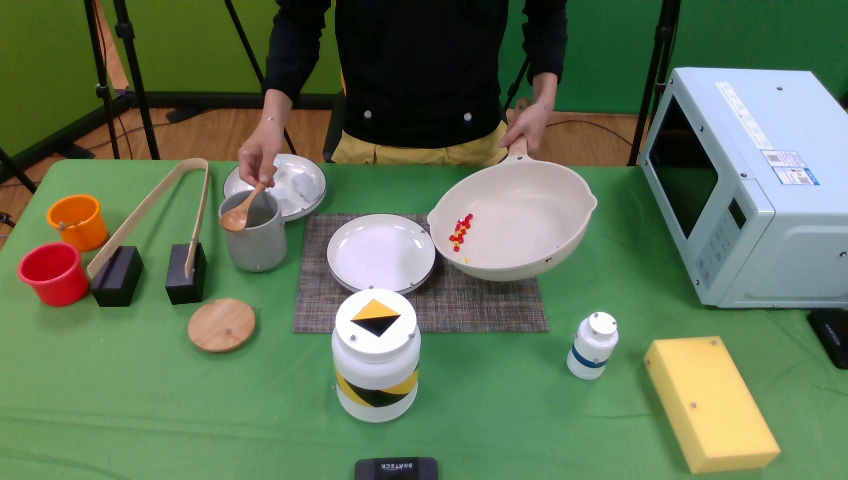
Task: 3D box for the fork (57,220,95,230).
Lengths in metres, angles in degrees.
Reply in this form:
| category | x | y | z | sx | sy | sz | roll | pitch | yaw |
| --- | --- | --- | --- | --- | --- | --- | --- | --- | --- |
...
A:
| category | x | y | z | sx | sy | sz | roll | pitch | yaw |
| --- | --- | --- | --- | --- | --- | --- | --- | --- | --- |
| fork | -0.624 | -0.027 | 1.086 | 0.028 | 0.207 | 0.018 | -2 | 91 | -17 |

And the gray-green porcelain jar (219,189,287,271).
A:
| category | x | y | z | sx | sy | sz | roll | pitch | yaw |
| --- | --- | --- | --- | --- | --- | --- | --- | --- | --- |
| gray-green porcelain jar | -0.310 | -0.014 | 1.113 | 0.106 | 0.127 | 0.105 | 2 | 46 | -2 |

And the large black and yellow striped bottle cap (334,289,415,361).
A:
| category | x | y | z | sx | sy | sz | roll | pitch | yaw |
| --- | --- | --- | --- | --- | --- | --- | --- | --- | --- |
| large black and yellow striped bottle cap | -0.069 | 0.117 | 0.850 | 0.115 | 0.019 | 0.114 | 2 | 45 | -2 |

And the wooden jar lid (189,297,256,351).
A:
| category | x | y | z | sx | sy | sz | roll | pitch | yaw |
| --- | --- | --- | --- | --- | --- | --- | --- | --- | --- |
| wooden jar lid | -0.342 | 0.145 | 1.033 | 0.108 | 0.021 | 0.107 | 3 | 45 | -2 |

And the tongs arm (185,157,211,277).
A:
| category | x | y | z | sx | sy | sz | roll | pitch | yaw |
| --- | --- | --- | --- | --- | --- | --- | --- | --- | --- |
| tongs arm | -0.446 | -0.058 | 1.168 | 0.051 | 0.026 | 0.382 | -5 | 37 | -6 |

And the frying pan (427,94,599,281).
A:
| category | x | y | z | sx | sy | sz | roll | pitch | yaw |
| --- | --- | --- | --- | --- | --- | --- | --- | --- | --- |
| frying pan | 0.177 | -0.117 | 1.149 | 0.306 | 0.103 | 0.485 | -3 | 51 | 20 |

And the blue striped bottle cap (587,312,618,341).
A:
| category | x | y | z | sx | sy | sz | roll | pitch | yaw |
| --- | --- | --- | --- | --- | --- | --- | --- | --- | --- |
| blue striped bottle cap | 0.279 | 0.134 | 0.946 | 0.044 | 0.021 | 0.044 | 2 | 45 | -2 |

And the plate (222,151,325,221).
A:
| category | x | y | z | sx | sy | sz | roll | pitch | yaw |
| --- | --- | --- | --- | --- | --- | --- | --- | --- | --- |
| plate | -0.310 | -0.106 | 1.263 | 0.208 | 0.039 | 0.206 | 2 | 46 | -2 |

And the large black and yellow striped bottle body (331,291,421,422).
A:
| category | x | y | z | sx | sy | sz | roll | pitch | yaw |
| --- | --- | --- | --- | --- | --- | --- | --- | --- | --- |
| large black and yellow striped bottle body | -0.071 | 0.175 | 0.911 | 0.131 | 0.185 | 0.130 | 2 | 47 | -2 |

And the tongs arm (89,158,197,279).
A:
| category | x | y | z | sx | sy | sz | roll | pitch | yaw |
| --- | --- | --- | --- | --- | --- | --- | --- | --- | --- |
| tongs arm | -0.530 | -0.057 | 1.164 | 0.028 | 0.028 | 0.385 | 1 | 36 | 8 |

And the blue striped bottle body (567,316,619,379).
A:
| category | x | y | z | sx | sy | sz | roll | pitch | yaw |
| --- | --- | --- | --- | --- | --- | --- | --- | --- | --- |
| blue striped bottle body | 0.276 | 0.168 | 0.984 | 0.063 | 0.121 | 0.062 | 2 | 46 | -2 |

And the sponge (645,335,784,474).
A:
| category | x | y | z | sx | sy | sz | roll | pitch | yaw |
| --- | --- | --- | --- | --- | --- | --- | --- | --- | --- |
| sponge | 0.449 | 0.253 | 0.956 | 0.118 | 0.061 | 0.205 | -4 | 46 | -7 |

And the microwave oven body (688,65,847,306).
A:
| category | x | y | z | sx | sy | sz | roll | pitch | yaw |
| --- | --- | --- | --- | --- | --- | --- | --- | --- | --- |
| microwave oven body | 0.669 | -0.111 | 1.176 | 0.326 | 0.261 | 0.439 | 0 | 46 | -3 |

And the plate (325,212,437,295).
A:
| category | x | y | z | sx | sy | sz | roll | pitch | yaw |
| --- | --- | --- | --- | --- | --- | --- | --- | --- | --- |
| plate | -0.080 | 0.030 | 1.143 | 0.209 | 0.038 | 0.208 | 3 | 46 | -2 |

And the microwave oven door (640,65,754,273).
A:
| category | x | y | z | sx | sy | sz | roll | pitch | yaw |
| --- | --- | --- | --- | --- | --- | --- | --- | --- | --- |
| microwave oven door | 0.523 | -0.147 | 1.193 | 0.039 | 0.245 | 0.353 | 0 | 47 | -3 |

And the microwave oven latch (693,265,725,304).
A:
| category | x | y | z | sx | sy | sz | roll | pitch | yaw |
| --- | --- | --- | --- | --- | --- | --- | --- | --- | --- |
| microwave oven latch | 0.523 | 0.082 | 1.116 | 0.030 | 0.029 | 0.078 | 2 | 46 | -1 |

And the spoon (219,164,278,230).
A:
| category | x | y | z | sx | sy | sz | roll | pitch | yaw |
| --- | --- | --- | --- | --- | --- | --- | --- | --- | --- |
| spoon | -0.303 | -0.080 | 1.075 | 0.041 | 0.022 | 0.193 | 28 | 47 | -4 |
